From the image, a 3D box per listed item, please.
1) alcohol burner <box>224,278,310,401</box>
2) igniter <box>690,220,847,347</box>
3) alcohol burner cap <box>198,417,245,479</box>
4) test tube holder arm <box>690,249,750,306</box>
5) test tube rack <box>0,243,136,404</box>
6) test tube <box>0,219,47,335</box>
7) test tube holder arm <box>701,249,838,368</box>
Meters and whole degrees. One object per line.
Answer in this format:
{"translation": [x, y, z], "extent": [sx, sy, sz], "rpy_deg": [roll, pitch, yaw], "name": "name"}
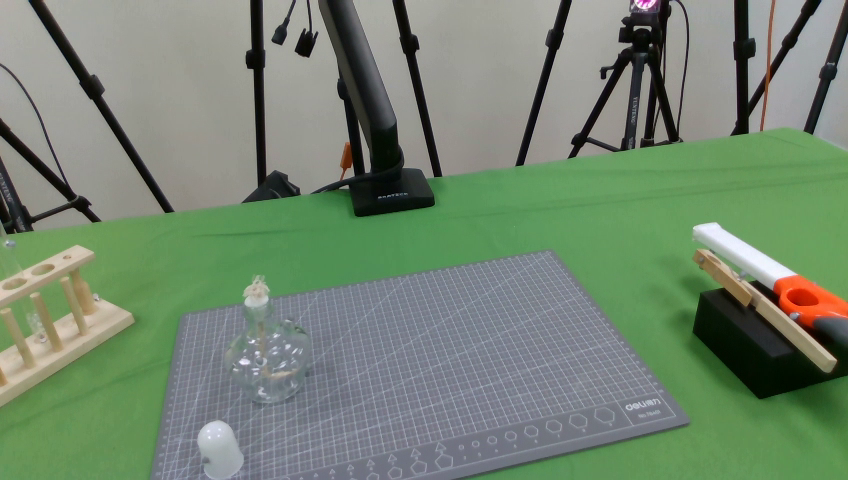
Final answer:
{"translation": [-0.146, 0.087, 0.555], "extent": [0.078, 0.120, 0.077], "rpy_deg": [-2, 29, 2], "name": "alcohol burner"}
{"translation": [0.349, 0.045, 0.575], "extent": [0.057, 0.025, 0.273], "rpy_deg": [-11, 28, -10], "name": "igniter"}
{"translation": [-0.168, 0.167, 0.495], "extent": [0.034, 0.048, 0.033], "rpy_deg": [-2, 31, 2], "name": "alcohol burner cap"}
{"translation": [0.295, 0.036, 0.601], "extent": [0.010, 0.015, 0.087], "rpy_deg": [-5, 30, -13], "name": "test tube holder arm"}
{"translation": [-0.420, 0.101, 0.592], "extent": [0.066, 0.086, 0.242], "rpy_deg": [16, 36, 29], "name": "test tube rack"}
{"translation": [-0.411, 0.033, 0.608], "extent": [0.017, 0.151, 0.017], "rpy_deg": [-3, 29, 2], "name": "test tube"}
{"translation": [0.312, 0.057, 0.565], "extent": [0.013, 0.015, 0.176], "rpy_deg": [-5, 30, -14], "name": "test tube holder arm"}
